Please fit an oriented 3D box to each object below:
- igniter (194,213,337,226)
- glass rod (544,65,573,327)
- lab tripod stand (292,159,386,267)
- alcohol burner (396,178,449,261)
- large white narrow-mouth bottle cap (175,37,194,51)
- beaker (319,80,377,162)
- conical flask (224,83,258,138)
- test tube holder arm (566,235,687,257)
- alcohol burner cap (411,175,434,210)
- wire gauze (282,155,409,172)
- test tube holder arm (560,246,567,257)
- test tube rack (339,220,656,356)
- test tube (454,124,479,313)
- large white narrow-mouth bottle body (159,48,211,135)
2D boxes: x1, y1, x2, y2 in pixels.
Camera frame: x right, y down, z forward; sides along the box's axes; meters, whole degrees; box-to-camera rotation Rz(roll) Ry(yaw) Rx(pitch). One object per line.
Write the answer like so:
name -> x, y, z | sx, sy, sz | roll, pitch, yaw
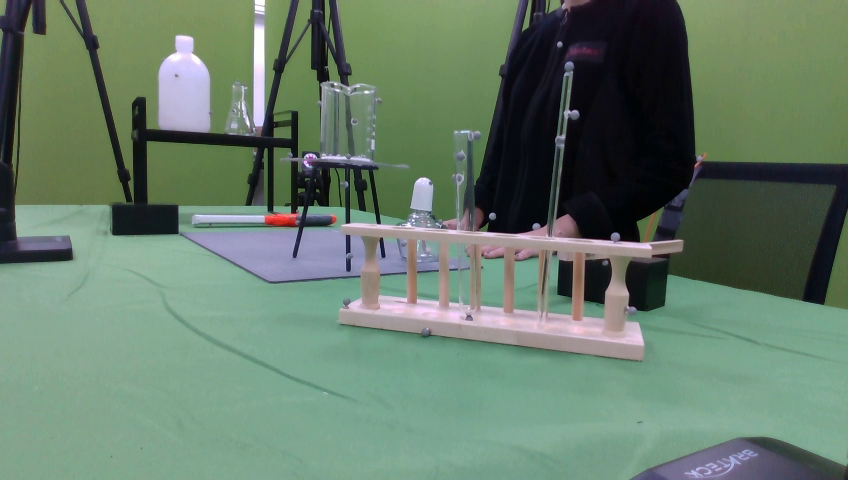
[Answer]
igniter -> -0.306, -0.041, 1.197 | 0.278, 0.025, 0.057 | -2, -2, -30
glass rod -> 0.101, -0.028, 0.453 | 0.008, 0.199, 0.008 | 2, 13, 0
lab tripod stand -> -0.105, -0.039, 0.797 | 0.148, 0.131, 0.148 | 2, 5, 0
alcohol burner -> -0.002, -0.031, 0.846 | 0.078, 0.119, 0.078 | 0, 6, 0
large white narrow-mouth bottle cap -> -0.501, -0.409, 1.264 | 0.038, 0.024, 0.037 | 2, 7, 0
beaker -> -0.098, -0.150, 0.777 | 0.074, 0.100, 0.084 | 1, 7, -8
conical flask -> -0.422, -0.299, 1.395 | 0.075, 0.122, 0.075 | 2, 7, 0
test tube holder arm -> 0.215, 0.006, 0.630 | 0.179, 0.015, 0.013 | -3, 9, -31
alcohol burner cap -> 0.000, -0.067, 0.842 | 0.034, 0.048, 0.034 | 8, 8, -1
wire gauze -> -0.104, -0.103, 0.785 | 0.126, 0.011, 0.121 | 1, 8, -39
test tube holder arm -> 0.173, 0.007, 0.612 | 0.088, 0.015, 0.010 | -3, 8, -30
test tube rack -> 0.056, 0.032, 0.495 | 0.242, 0.085, 0.067 | 4, 7, 15
test tube -> 0.034, -0.015, 0.477 | 0.017, 0.150, 0.017 | -2, 9, 1
large white narrow-mouth bottle body -> -0.503, -0.323, 1.275 | 0.102, 0.194, 0.102 | 2, 7, 0
